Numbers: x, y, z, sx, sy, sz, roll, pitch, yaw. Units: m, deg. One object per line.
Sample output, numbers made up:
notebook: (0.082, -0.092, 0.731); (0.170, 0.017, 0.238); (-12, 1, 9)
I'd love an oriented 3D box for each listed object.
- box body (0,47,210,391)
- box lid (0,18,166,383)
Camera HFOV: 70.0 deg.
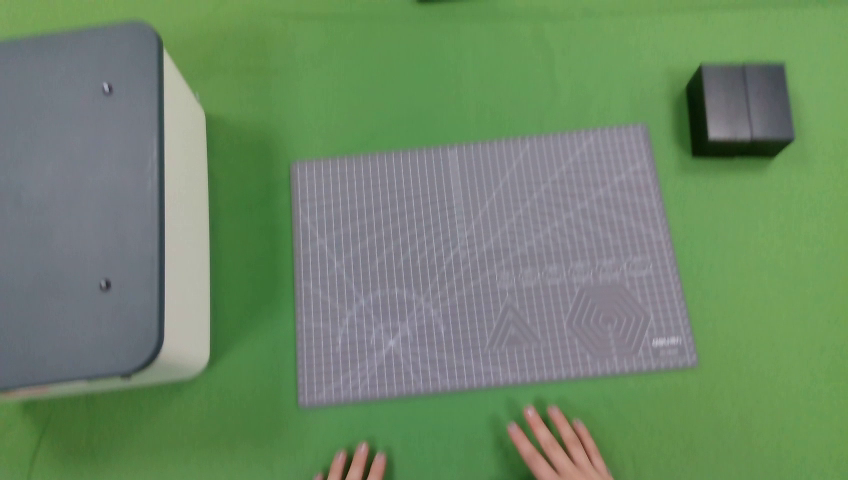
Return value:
box body: (-0.384, -0.025, 0.667); (0.254, 0.161, 0.361); (-7, 73, -1)
box lid: (-0.387, -0.049, 0.597); (0.263, 0.015, 0.369); (-7, 74, 0)
